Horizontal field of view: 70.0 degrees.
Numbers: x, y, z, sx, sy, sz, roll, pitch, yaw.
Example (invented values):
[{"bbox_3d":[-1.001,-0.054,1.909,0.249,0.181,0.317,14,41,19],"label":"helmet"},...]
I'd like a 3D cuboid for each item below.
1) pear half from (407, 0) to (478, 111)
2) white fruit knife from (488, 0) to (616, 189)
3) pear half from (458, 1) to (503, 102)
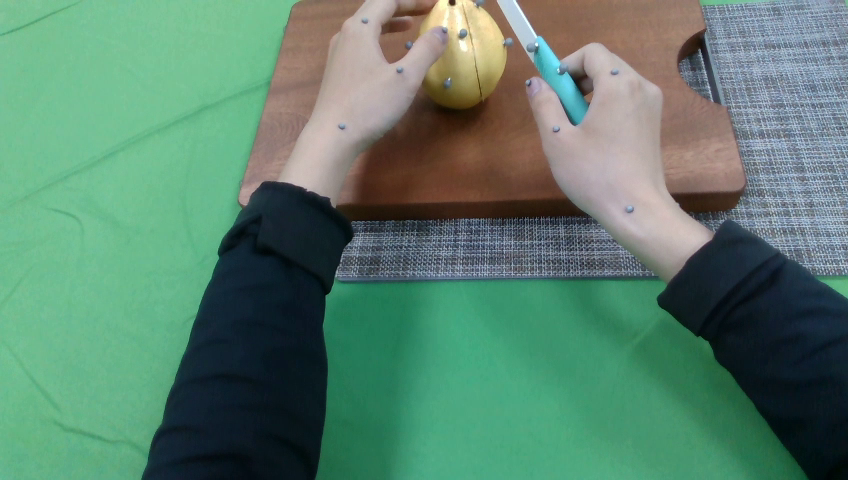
[{"bbox_3d":[0.012,-0.157,0.493,0.056,0.111,0.075,-14,53,1],"label":"pear half"},{"bbox_3d":[0.077,-0.128,0.426,0.016,0.027,0.207,-32,89,-16],"label":"white fruit knife"},{"bbox_3d":[0.048,-0.159,0.500,0.031,0.089,0.069,-14,53,0],"label":"pear half"}]
